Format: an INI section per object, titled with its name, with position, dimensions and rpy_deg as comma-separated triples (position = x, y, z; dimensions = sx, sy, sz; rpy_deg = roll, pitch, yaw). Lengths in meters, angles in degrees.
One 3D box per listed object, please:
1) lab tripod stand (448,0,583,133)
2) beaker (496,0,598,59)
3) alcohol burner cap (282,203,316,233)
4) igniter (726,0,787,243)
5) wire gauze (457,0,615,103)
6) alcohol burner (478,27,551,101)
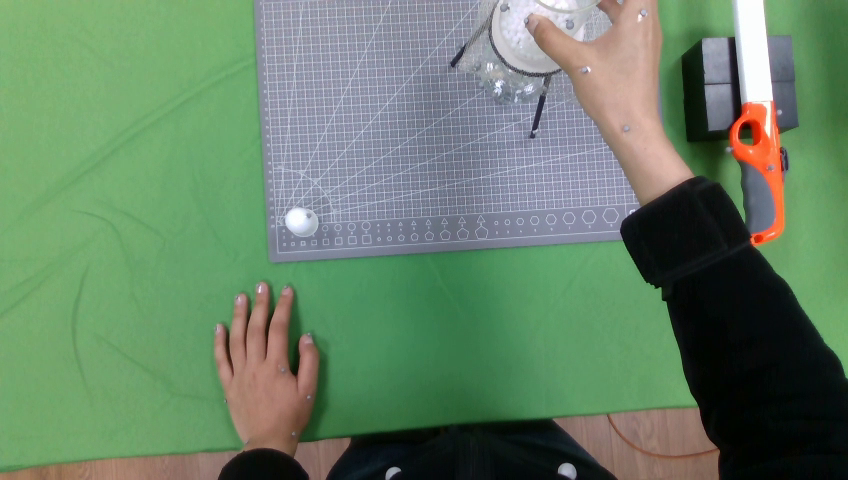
[lab tripod stand]
position = 0.101, -0.196, 0.618
dimensions = 0.148, 0.131, 0.148
rpy_deg = 0, 85, -2
[beaker]
position = 0.099, -0.202, 0.503
dimensions = 0.084, 0.100, 0.074
rpy_deg = -2, 83, -4
[alcohol burner cap]
position = -0.136, -0.025, 0.647
dimensions = 0.034, 0.048, 0.034
rpy_deg = 0, 87, -3
[igniter]
position = 0.345, -0.136, 0.635
dimensions = 0.057, 0.025, 0.276
rpy_deg = -3, 87, 3
[wire gauze]
position = 0.106, -0.197, 0.552
dimensions = 0.121, 0.011, 0.125
rpy_deg = 19, 85, -3
[alcohol burner]
position = 0.096, -0.187, 0.627
dimensions = 0.078, 0.119, 0.078
rpy_deg = 0, 89, -1
